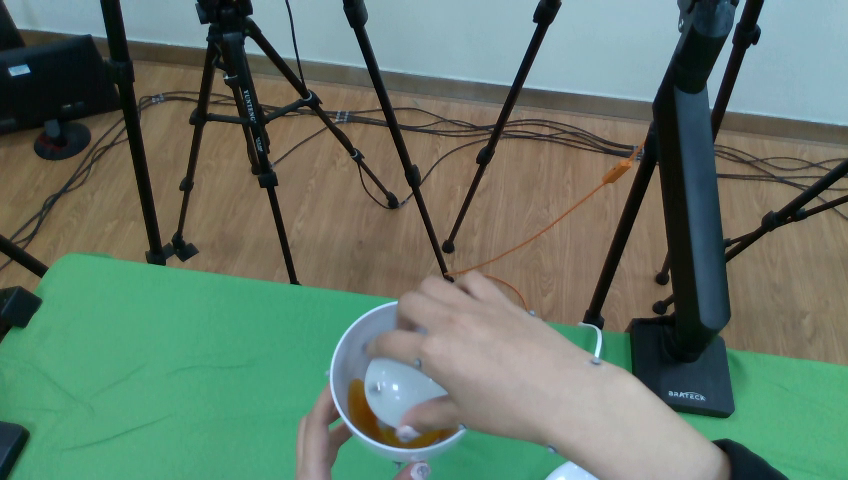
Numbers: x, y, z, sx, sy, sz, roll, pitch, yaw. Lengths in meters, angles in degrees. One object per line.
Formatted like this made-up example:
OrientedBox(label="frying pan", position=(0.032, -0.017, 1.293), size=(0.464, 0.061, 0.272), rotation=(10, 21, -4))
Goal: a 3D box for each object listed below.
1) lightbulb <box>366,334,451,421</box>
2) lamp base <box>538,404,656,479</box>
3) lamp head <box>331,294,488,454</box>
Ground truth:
OrientedBox(label="lightbulb", position=(-0.012, 0.107, 0.446), size=(0.059, 0.108, 0.059), rotation=(1, 64, -2))
OrientedBox(label="lamp base", position=(0.195, 0.252, 0.607), size=(0.161, 0.182, 0.177), rotation=(-4, 52, -4))
OrientedBox(label="lamp head", position=(-0.007, 0.116, 0.472), size=(0.112, 0.124, 0.111), rotation=(-2, 59, 3))
